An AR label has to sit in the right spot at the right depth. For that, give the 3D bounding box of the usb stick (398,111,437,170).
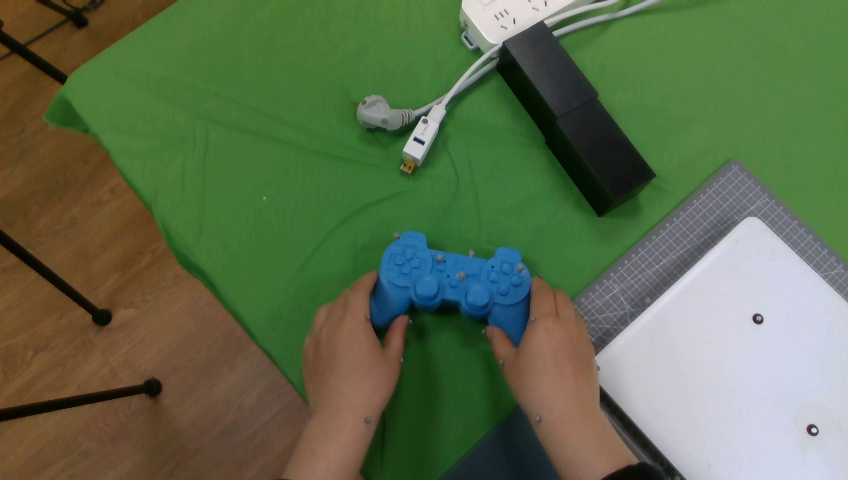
[{"bbox_3d":[-0.009,-0.102,0.627,0.021,0.027,0.059,28,83,-1],"label":"usb stick"}]

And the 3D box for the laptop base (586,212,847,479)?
[{"bbox_3d":[0.351,0.170,0.563,0.235,0.023,0.352,-41,79,-7],"label":"laptop base"}]

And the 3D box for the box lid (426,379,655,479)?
[{"bbox_3d":[0.141,0.332,0.521,0.263,0.015,0.370,-40,79,-11],"label":"box lid"}]

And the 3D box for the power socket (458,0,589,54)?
[{"bbox_3d":[0.139,-0.285,0.678,0.227,0.033,0.072,-32,78,-10],"label":"power socket"}]

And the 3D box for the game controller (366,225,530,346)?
[{"bbox_3d":[0.027,0.041,0.580,0.155,0.052,0.096,11,71,1],"label":"game controller"}]

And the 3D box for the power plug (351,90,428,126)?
[{"bbox_3d":[-0.040,-0.141,0.644,0.073,0.035,0.052,-10,45,-39],"label":"power plug"}]

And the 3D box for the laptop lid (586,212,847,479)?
[{"bbox_3d":[0.349,0.168,0.551,0.241,0.013,0.355,-39,78,-8],"label":"laptop lid"}]
